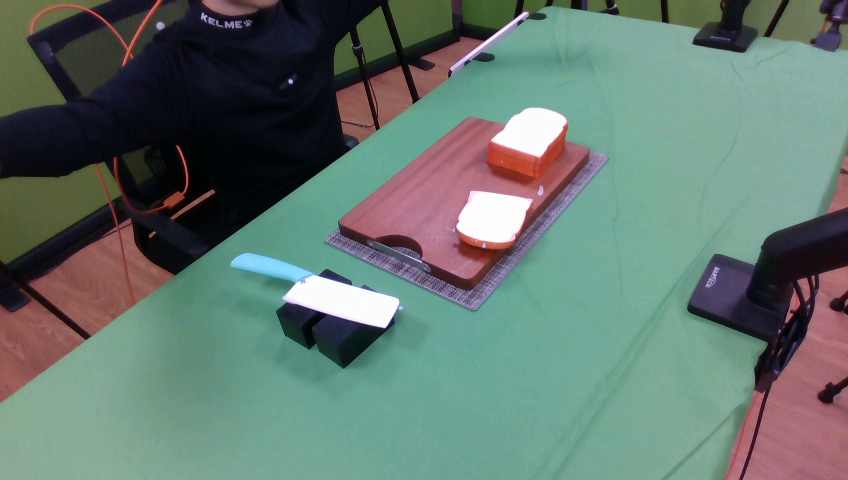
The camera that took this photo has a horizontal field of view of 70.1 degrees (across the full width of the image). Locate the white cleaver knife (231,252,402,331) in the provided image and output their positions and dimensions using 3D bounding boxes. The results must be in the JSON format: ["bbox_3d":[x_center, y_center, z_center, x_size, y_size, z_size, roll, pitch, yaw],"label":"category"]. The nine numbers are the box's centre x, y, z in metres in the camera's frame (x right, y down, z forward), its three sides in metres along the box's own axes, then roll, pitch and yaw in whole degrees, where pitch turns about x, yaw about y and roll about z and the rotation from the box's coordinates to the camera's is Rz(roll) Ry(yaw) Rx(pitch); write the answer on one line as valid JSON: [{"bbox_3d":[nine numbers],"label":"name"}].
[{"bbox_3d":[-0.163,0.068,0.849,0.284,0.021,0.066,13,45,25],"label":"white cleaver knife"}]

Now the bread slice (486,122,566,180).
[{"bbox_3d":[0.194,-0.167,1.090,0.106,0.018,0.134,28,56,29],"label":"bread slice"}]

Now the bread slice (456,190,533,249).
[{"bbox_3d":[0.106,-0.032,0.945,0.104,0.019,0.131,11,40,16],"label":"bread slice"}]
